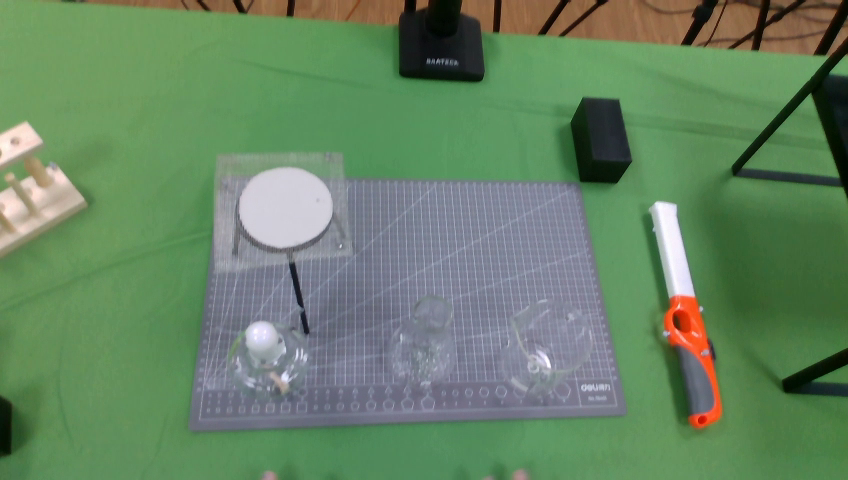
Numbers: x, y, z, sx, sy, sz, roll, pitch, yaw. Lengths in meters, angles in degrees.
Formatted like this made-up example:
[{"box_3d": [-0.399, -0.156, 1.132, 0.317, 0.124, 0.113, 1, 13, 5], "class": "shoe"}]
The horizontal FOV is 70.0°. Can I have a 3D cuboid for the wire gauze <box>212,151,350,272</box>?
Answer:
[{"box_3d": [-0.135, -0.032, 0.568, 0.122, 0.011, 0.124, -4, 64, -10], "class": "wire gauze"}]

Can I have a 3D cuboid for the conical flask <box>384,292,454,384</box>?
[{"box_3d": [0.000, 0.092, 0.602, 0.075, 0.122, 0.074, 3, 61, -5], "class": "conical flask"}]

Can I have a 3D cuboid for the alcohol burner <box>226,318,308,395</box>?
[{"box_3d": [-0.151, 0.105, 0.580, 0.078, 0.120, 0.077, 4, 60, -7], "class": "alcohol burner"}]

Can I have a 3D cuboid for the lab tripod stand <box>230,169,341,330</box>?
[{"box_3d": [-0.139, 0.004, 0.625, 0.149, 0.132, 0.147, 4, 62, -7], "class": "lab tripod stand"}]

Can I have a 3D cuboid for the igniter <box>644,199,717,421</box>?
[{"box_3d": [0.298, 0.073, 0.710, 0.057, 0.025, 0.274, 9, 60, -15], "class": "igniter"}]

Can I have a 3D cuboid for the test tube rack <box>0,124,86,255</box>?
[{"box_3d": [-0.491, -0.013, 0.617, 0.242, 0.086, 0.066, -39, 72, -24], "class": "test tube rack"}]

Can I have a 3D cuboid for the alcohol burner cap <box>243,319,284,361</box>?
[{"box_3d": [-0.147, 0.089, 0.548, 0.034, 0.048, 0.033, 1, 66, -3], "class": "alcohol burner cap"}]

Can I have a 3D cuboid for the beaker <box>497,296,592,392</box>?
[{"box_3d": [0.115, 0.110, 0.621, 0.084, 0.101, 0.073, 22, 61, 6], "class": "beaker"}]
